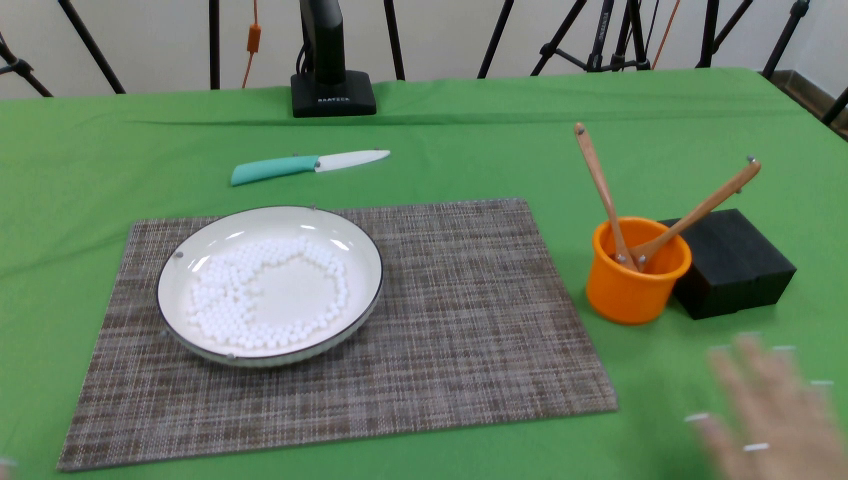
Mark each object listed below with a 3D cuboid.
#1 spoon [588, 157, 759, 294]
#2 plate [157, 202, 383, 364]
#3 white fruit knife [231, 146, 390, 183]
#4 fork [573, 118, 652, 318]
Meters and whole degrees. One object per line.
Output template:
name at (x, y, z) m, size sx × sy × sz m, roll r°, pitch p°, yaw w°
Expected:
spoon at (0.241, -0.013, 0.590) m, size 0.041 × 0.194 × 0.022 m, roll 52°, pitch 21°, yaw 8°
plate at (-0.143, 0.039, 0.587) m, size 0.209 × 0.038 × 0.207 m, roll 2°, pitch 41°, yaw -1°
white fruit knife at (-0.142, -0.101, 0.772) m, size 0.208 × 0.016 × 0.027 m, roll -11°, pitch 72°, yaw -19°
fork at (0.184, -0.023, 0.602) m, size 0.028 × 0.018 × 0.207 m, roll -17°, pitch 89°, yaw -7°
